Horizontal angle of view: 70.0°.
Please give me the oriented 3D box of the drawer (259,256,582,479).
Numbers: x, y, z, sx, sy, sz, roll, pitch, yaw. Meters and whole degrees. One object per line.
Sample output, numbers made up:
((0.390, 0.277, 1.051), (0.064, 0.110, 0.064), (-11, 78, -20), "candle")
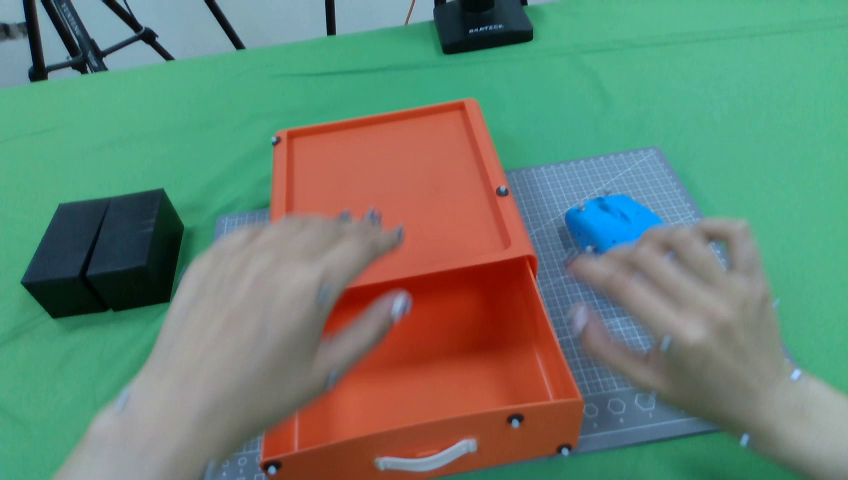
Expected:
((-0.012, 0.064, 0.446), (0.194, 0.074, 0.209), (-11, 45, -1), "drawer")

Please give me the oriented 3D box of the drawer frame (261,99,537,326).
((-0.028, -0.018, 0.524), (0.202, 0.083, 0.211), (-11, 45, -2), "drawer frame")

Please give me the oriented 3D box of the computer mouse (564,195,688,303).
((0.167, 0.000, 0.510), (0.063, 0.041, 0.116), (-16, 42, -5), "computer mouse")
